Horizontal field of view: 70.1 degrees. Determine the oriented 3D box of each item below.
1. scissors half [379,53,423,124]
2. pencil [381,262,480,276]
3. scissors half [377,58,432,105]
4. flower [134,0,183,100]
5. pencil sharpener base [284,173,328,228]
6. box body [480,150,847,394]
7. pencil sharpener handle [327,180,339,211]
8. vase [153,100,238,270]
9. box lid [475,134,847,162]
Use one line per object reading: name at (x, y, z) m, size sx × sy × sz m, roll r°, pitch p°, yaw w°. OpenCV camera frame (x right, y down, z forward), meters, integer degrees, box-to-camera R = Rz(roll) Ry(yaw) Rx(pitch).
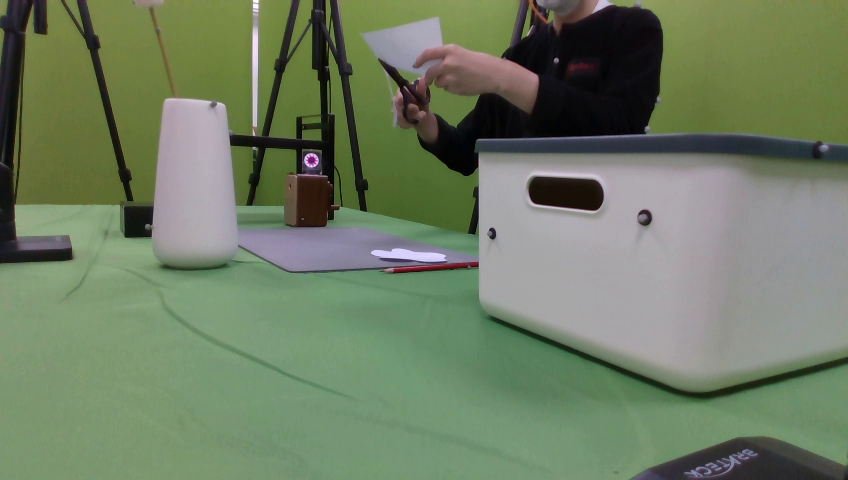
scissors half at (-0.043, -0.268, 1.079) m, size 0.012 × 0.040 × 0.176 m, roll 21°, pitch -22°, yaw 34°
pencil at (0.030, 0.037, 0.794) m, size 0.195 × 0.012 × 0.012 m, roll -4°, pitch 10°, yaw -31°
scissors half at (-0.033, -0.287, 1.083) m, size 0.013 × 0.040 × 0.176 m, roll 15°, pitch -1°, yaw 32°
flower at (-0.282, -0.147, 0.713) m, size 0.038 × 0.362 × 0.044 m, roll -23°, pitch 24°, yaw -31°
pencil sharpener base at (-0.239, -0.081, 1.231) m, size 0.077 × 0.107 × 0.061 m, roll -2°, pitch 8°, yaw -36°
box body at (0.254, 0.002, 0.539) m, size 0.366 × 0.160 × 0.253 m, roll -2°, pitch 8°, yaw -31°
pencil sharpener handle at (-0.194, -0.094, 1.256) m, size 0.031 × 0.067 × 0.036 m, roll -2°, pitch -6°, yaw -36°
vase at (-0.278, -0.066, 0.736) m, size 0.098 × 0.200 × 0.098 m, roll 2°, pitch 9°, yaw 0°
box lid at (0.256, -0.073, 0.528) m, size 0.373 × 0.015 × 0.262 m, roll -2°, pitch 8°, yaw -31°
